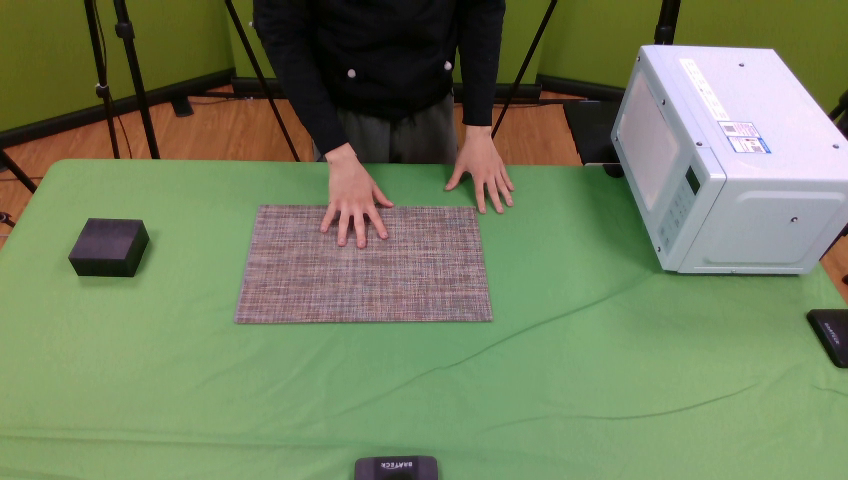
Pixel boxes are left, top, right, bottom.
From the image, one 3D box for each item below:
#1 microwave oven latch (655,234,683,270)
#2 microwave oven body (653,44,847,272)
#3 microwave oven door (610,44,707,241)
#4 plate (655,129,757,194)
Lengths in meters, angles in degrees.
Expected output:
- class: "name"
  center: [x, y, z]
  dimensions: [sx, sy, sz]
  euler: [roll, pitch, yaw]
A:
- class: "microwave oven latch"
  center: [0.473, 0.021, 1.175]
  dimensions: [0.030, 0.029, 0.078]
  euler: [2, 46, -1]
- class: "microwave oven body"
  center: [0.620, -0.172, 1.234]
  dimensions: [0.326, 0.261, 0.439]
  euler: [0, 46, -3]
- class: "microwave oven door"
  center: [0.474, -0.208, 1.250]
  dimensions: [0.039, 0.245, 0.353]
  euler: [0, 47, -3]
- class: "plate"
  center: [0.601, -0.165, 1.305]
  dimensions: [0.209, 0.038, 0.208]
  euler: [1, 46, -1]
